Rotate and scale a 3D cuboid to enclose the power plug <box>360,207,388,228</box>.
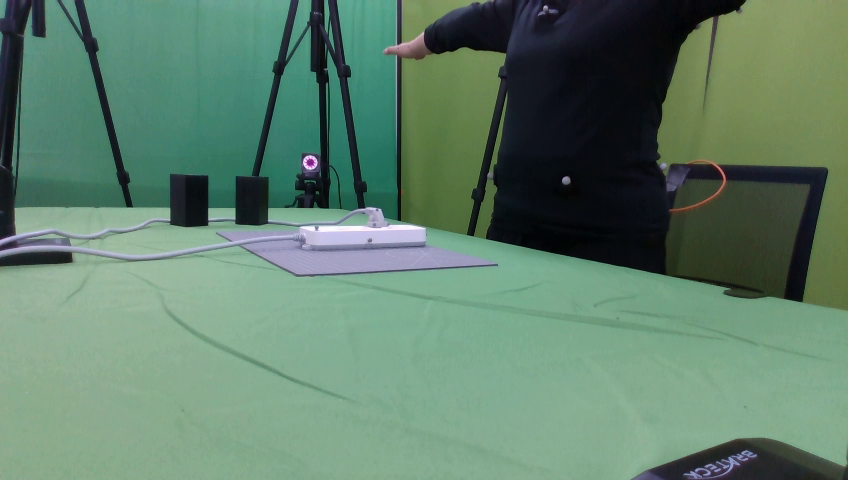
[{"bbox_3d":[-0.085,-0.029,1.032,0.035,0.052,0.072,1,5,-20],"label":"power plug"}]

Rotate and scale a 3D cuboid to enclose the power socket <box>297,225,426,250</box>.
[{"bbox_3d":[-0.099,-0.006,0.992,0.228,0.032,0.072,-2,8,-31],"label":"power socket"}]
